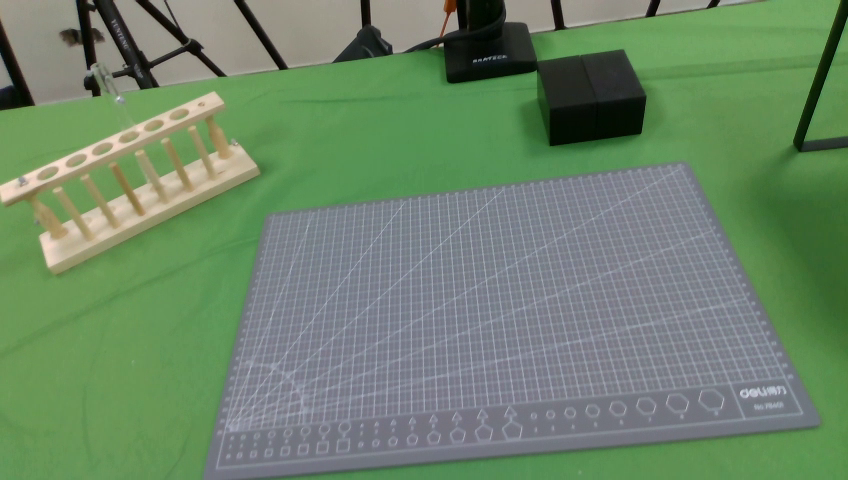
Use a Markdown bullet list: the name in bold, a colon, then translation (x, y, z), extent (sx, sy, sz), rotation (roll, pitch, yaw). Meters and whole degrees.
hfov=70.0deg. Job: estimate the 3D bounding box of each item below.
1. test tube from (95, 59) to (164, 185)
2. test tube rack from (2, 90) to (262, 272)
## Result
- **test tube**: translation (-0.315, -0.123, 0.654), extent (0.017, 0.151, 0.017), rotation (-4, 41, 4)
- **test tube rack**: translation (-0.315, -0.069, 0.673), extent (0.242, 0.086, 0.066), rotation (-30, 48, -18)
